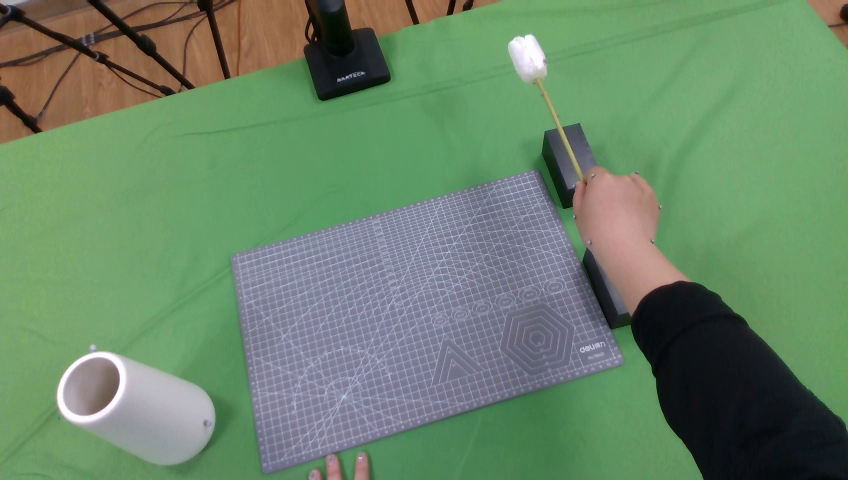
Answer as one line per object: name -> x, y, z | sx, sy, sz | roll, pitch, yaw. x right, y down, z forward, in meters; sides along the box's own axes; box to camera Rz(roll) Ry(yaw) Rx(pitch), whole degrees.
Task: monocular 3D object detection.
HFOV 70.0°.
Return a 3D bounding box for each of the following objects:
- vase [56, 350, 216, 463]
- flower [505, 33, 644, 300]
vase -> -0.302, 0.180, 0.654 | 0.098, 0.201, 0.097 | -1, 62, 3
flower -> 0.166, -0.094, 0.678 | 0.044, 0.038, 0.358 | 3, 58, -38
